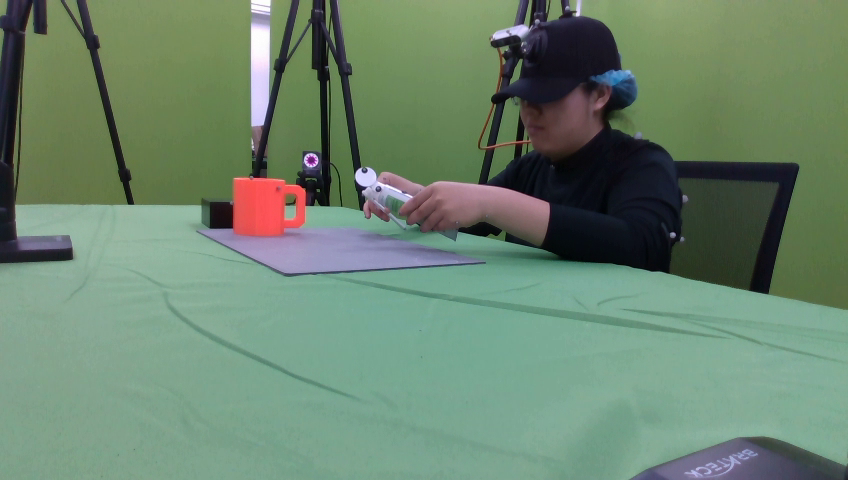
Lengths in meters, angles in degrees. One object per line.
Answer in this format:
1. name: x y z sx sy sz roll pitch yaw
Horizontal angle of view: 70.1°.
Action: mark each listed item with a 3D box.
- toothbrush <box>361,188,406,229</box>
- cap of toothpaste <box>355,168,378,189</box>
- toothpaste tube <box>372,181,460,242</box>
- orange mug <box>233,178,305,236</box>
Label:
1. toothbrush: -0.067 -0.054 1.083 0.014 0.016 0.182 41 -1 27
2. cap of toothpaste: -0.094 -0.099 0.985 0.037 0.037 0.011 2 -11 -4
3. toothpaste tube: -0.016 -0.053 0.980 0.164 0.055 0.034 28 55 15
4. orange mug: -0.273 -0.061 1.067 0.127 0.101 0.083 -5 10 -24
